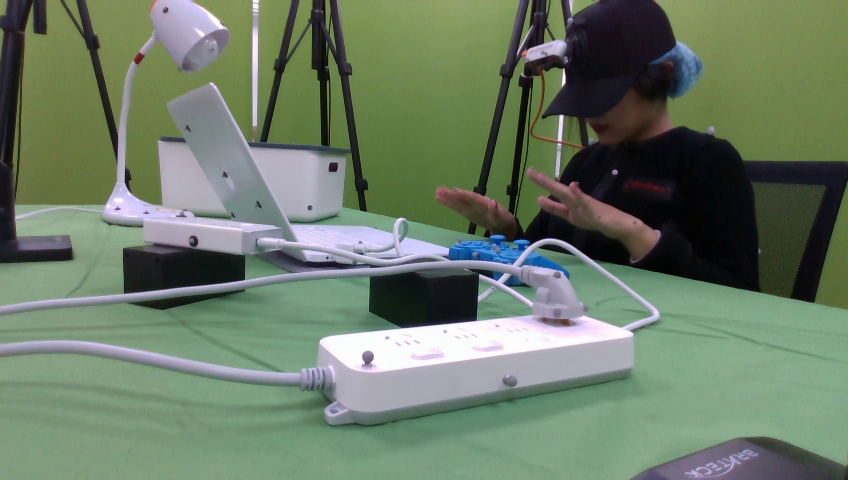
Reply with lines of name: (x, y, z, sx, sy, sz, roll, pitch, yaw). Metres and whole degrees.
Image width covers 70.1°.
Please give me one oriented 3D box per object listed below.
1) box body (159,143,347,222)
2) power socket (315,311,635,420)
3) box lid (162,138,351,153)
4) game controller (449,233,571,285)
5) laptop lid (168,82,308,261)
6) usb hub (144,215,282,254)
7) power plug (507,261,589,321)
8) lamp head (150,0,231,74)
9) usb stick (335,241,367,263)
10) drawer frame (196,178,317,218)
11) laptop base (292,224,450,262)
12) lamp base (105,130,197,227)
box body: (-0.384, -0.137, 1.407, 0.364, 0.160, 0.254, 3, 8, 7)
power socket: (0.039, 0.072, 0.385, 0.228, 0.032, 0.072, -2, 7, -29)
box lid: (-0.371, -0.215, 1.394, 0.371, 0.015, 0.263, 4, 8, 7)
game controller: (0.101, 0.021, 0.760, 0.097, 0.051, 0.154, -7, 10, -30)
laptop lid: (-0.273, -0.094, 0.844, 0.013, 0.242, 0.355, -33, 24, -22)
usb hub: (-0.200, -0.006, 0.573, 0.125, 0.025, 0.050, 6, 7, 23)
power plug: (0.091, 0.043, 0.444, 0.035, 0.052, 0.072, -1, 5, -18)
lamp head: (-0.432, -0.375, 1.086, 0.123, 0.112, 0.112, 42, 8, -2)
usb stick: (-0.093, 0.014, 0.742, 0.021, 0.027, 0.059, -4, 1, -34)
drawer frame: (-0.376, -0.101, 1.393, 0.213, 0.082, 0.202, 1, 8, 6)
laptop base: (-0.126, 0.002, 0.946, 0.237, 0.023, 0.352, 2, 6, -31)
lamp base: (-0.532, -0.120, 1.153, 0.179, 0.180, 0.161, 1, 7, 8)
